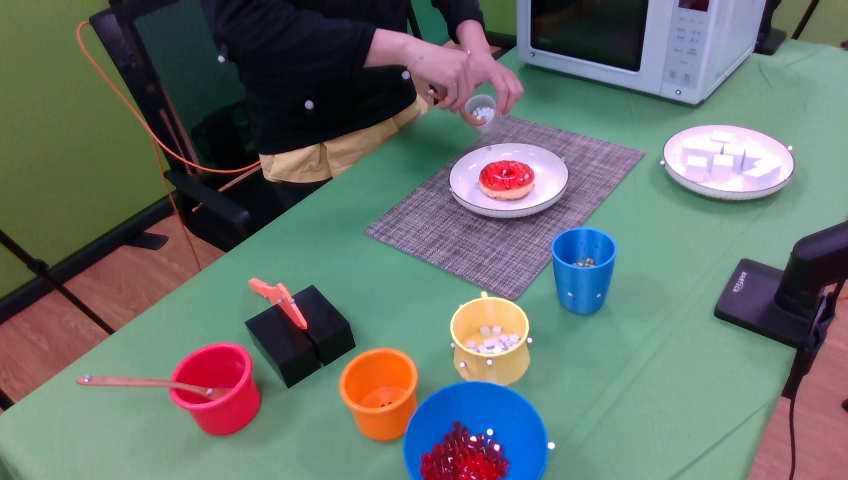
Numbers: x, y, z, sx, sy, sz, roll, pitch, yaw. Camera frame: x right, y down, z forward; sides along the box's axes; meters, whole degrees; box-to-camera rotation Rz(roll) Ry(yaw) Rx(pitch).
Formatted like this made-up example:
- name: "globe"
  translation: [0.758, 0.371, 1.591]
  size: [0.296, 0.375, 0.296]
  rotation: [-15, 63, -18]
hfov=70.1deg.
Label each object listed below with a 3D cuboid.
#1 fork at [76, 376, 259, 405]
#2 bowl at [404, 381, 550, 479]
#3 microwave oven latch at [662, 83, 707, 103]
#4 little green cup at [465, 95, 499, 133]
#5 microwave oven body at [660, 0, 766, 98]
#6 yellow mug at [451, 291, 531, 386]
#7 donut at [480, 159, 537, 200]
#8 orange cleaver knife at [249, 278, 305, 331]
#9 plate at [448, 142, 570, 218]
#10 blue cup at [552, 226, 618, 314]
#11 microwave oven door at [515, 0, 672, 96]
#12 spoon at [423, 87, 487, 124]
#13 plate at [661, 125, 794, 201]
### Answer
- name: "fork"
  translation: [-0.295, 0.176, 0.716]
  size: [0.209, 0.018, 0.028]
  rotation: [19, 26, -36]
- name: "bowl"
  translation: [0.058, 0.235, 0.645]
  size: [0.151, 0.077, 0.150]
  rotation: [-4, 39, 4]
- name: "microwave oven latch"
  translation: [0.517, -0.296, 1.204]
  size: [0.078, 0.029, 0.030]
  rotation: [27, 52, 35]
- name: "little green cup"
  translation: [0.104, -0.222, 1.078]
  size: [0.061, 0.039, 0.061]
  rotation: [-4, 74, 15]
- name: "microwave oven body"
  translation: [0.473, -0.513, 1.317]
  size: [0.438, 0.261, 0.327]
  rotation: [26, 51, 34]
- name: "yellow mug"
  translation: [0.085, 0.120, 0.786]
  size: [0.100, 0.064, 0.130]
  rotation: [-7, 39, 1]
- name: "donut"
  translation: [0.145, -0.106, 1.043]
  size: [0.099, 0.048, 0.098]
  rotation: [-5, 38, 4]
- name: "orange cleaver knife"
  translation: [-0.210, 0.088, 0.856]
  size: [0.012, 0.077, 0.210]
  rotation: [-28, 15, -25]
- name: "plate"
  translation: [0.148, -0.101, 1.053]
  size: [0.209, 0.038, 0.208]
  rotation: [-4, 40, 4]
- name: "blue cup"
  translation: [0.218, 0.047, 0.826]
  size: [0.092, 0.100, 0.092]
  rotation: [-6, 40, 5]
- name: "microwave oven door"
  translation: [0.344, -0.455, 1.260]
  size: [0.353, 0.245, 0.039]
  rotation: [26, 51, 33]
- name: "spoon"
  translation: [0.051, -0.221, 0.990]
  size: [0.041, 0.021, 0.195]
  rotation: [24, 5, 31]
- name: "plate"
  translation: [0.513, -0.128, 1.035]
  size: [0.207, 0.039, 0.206]
  rotation: [-4, 40, 4]
